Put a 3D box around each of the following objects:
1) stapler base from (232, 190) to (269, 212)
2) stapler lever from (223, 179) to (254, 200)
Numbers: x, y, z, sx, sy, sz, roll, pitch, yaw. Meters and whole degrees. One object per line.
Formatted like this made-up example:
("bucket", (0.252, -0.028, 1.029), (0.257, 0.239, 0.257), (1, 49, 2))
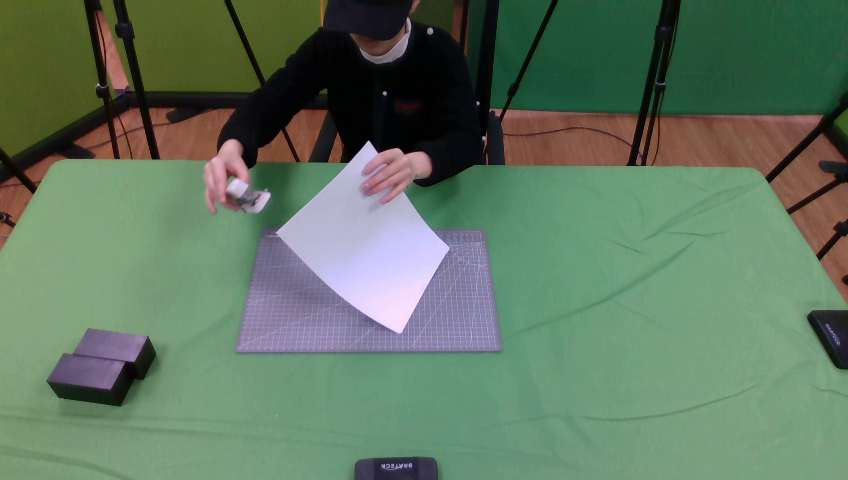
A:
("stapler base", (-0.308, -0.073, 1.054), (0.130, 0.024, 0.041), (8, 65, 56))
("stapler lever", (-0.326, -0.085, 1.041), (0.117, 0.040, 0.027), (8, 65, 56))
